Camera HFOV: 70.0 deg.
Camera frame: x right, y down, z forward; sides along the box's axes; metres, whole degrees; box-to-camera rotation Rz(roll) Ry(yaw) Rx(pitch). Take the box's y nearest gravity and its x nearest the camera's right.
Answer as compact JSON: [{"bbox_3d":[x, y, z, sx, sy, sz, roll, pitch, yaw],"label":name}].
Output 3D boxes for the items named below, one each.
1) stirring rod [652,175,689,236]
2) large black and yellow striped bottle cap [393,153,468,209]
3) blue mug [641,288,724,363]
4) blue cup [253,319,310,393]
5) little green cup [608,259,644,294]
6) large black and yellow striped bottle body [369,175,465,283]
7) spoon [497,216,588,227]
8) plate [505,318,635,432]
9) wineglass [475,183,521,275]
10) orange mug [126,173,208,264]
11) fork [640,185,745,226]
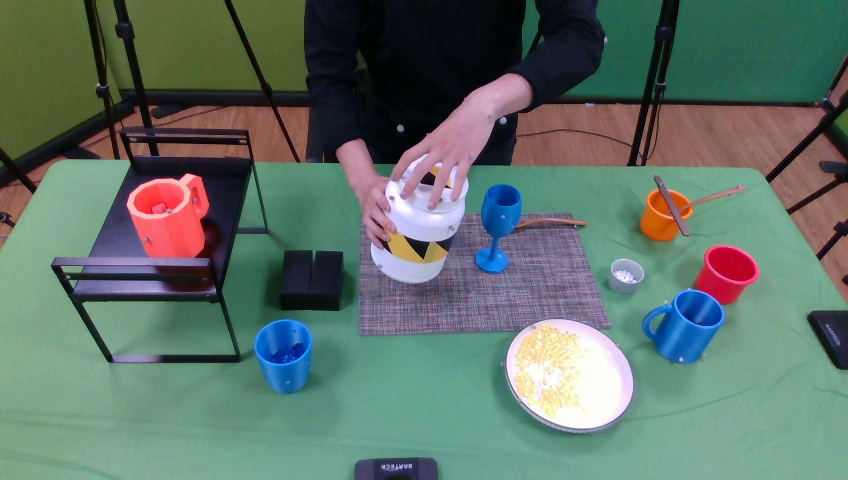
[{"bbox_3d":[0.492,-0.072,1.211,0.014,0.006,0.175,-1,46,-6],"label":"stirring rod"},{"bbox_3d":[0.011,-0.092,0.927,0.115,0.019,0.114,12,43,-11],"label":"large black and yellow striped bottle cap"},{"bbox_3d":[0.432,0.144,1.033,0.116,0.106,0.082,9,46,5],"label":"blue mug"},{"bbox_3d":[-0.217,0.187,0.943,0.093,0.101,0.092,3,45,-3],"label":"blue cup"},{"bbox_3d":[0.379,0.070,1.147,0.061,0.039,0.061,3,45,-2],"label":"little green cup"},{"bbox_3d":[-0.010,-0.034,0.984,0.131,0.184,0.130,11,43,-10],"label":"large black and yellow striped bottle body"},{"bbox_3d":[0.245,-0.039,1.247,0.194,0.022,0.041,-1,25,-6],"label":"spoon"},{"bbox_3d":[0.235,0.221,0.991,0.209,0.038,0.208,2,45,-2],"label":"plate"},{"bbox_3d":[0.134,-0.020,1.115,0.074,0.173,0.073,2,46,-2],"label":"wineglass"},{"bbox_3d":[-0.371,-0.040,0.902,0.083,0.101,0.126,18,52,13],"label":"orange mug"},{"bbox_3d":[0.534,-0.069,1.215,0.207,0.019,0.028,-26,27,33],"label":"fork"}]
